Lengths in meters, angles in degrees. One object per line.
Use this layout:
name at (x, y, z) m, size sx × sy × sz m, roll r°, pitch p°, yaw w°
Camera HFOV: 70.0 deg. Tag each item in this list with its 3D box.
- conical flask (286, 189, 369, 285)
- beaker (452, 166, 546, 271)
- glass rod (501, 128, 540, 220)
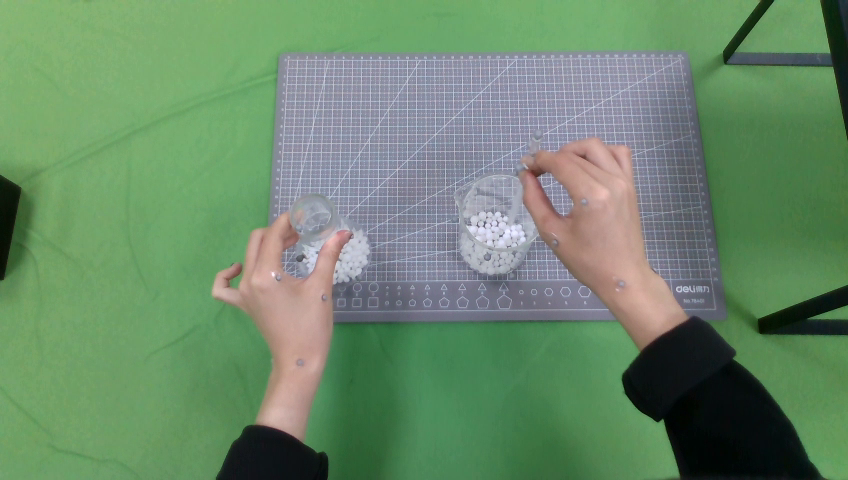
conical flask at (-0.092, -0.008, 0.546) m, size 0.075 × 0.122 × 0.075 m, roll 0°, pitch 73°, yaw 0°
beaker at (0.063, -0.016, 0.561) m, size 0.084 × 0.101 × 0.073 m, roll 23°, pitch 74°, yaw 8°
glass rod at (0.078, -0.049, 0.510) m, size 0.008 × 0.200 × 0.008 m, roll 0°, pitch 75°, yaw 1°
